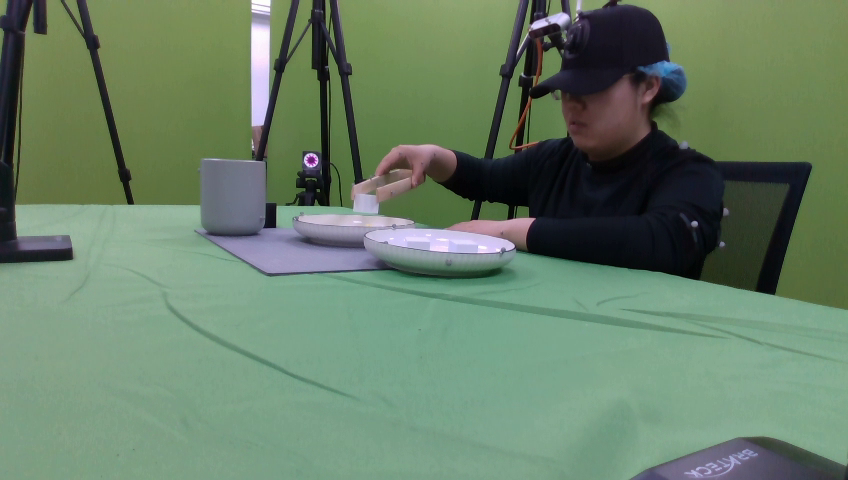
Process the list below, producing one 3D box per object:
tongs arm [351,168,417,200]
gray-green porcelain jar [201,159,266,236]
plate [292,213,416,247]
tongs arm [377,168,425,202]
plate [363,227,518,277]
[{"bbox_3d":[-0.068,-0.115,1.191,0.051,0.026,0.385,3,12,8],"label":"tongs arm"},{"bbox_3d":[-0.326,-0.073,1.036,0.106,0.126,0.106,3,8,0],"label":"gray-green porcelain jar"},{"bbox_3d":[-0.118,-0.017,1.024,0.208,0.039,0.207,3,8,0],"label":"plate"},{"bbox_3d":[-0.041,-0.112,1.186,0.028,0.028,0.388,0,11,12],"label":"tongs arm"},{"bbox_3d":[0.022,0.016,0.817,0.209,0.038,0.209,4,9,0],"label":"plate"}]
